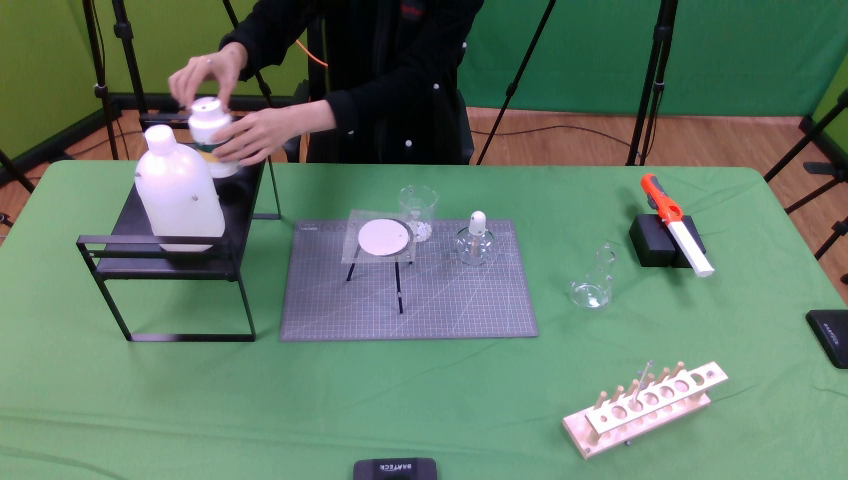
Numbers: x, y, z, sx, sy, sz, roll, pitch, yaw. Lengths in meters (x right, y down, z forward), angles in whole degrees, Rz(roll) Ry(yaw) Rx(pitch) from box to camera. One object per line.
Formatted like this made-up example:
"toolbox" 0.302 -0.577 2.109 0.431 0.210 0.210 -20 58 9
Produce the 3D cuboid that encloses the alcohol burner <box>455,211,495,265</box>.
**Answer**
"alcohol burner" 0.097 -0.010 1.147 0.078 0.120 0.077 1 47 -1

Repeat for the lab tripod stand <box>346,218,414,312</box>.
"lab tripod stand" -0.070 0.037 1.075 0.148 0.132 0.147 1 48 -1

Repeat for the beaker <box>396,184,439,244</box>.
"beaker" -0.014 -0.049 1.186 0.084 0.101 0.073 -8 48 -12

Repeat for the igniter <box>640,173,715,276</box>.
"igniter" 0.495 -0.039 1.204 0.057 0.025 0.274 -2 47 -12

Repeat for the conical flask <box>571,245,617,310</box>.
"conical flask" 0.313 0.064 1.089 0.075 0.122 0.075 2 46 -2

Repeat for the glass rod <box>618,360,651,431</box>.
"glass rod" 0.298 0.227 0.865 0.008 0.201 0.008 -1 48 2

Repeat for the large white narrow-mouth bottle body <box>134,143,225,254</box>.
"large white narrow-mouth bottle body" -0.358 -0.075 0.875 0.102 0.195 0.101 1 48 -1

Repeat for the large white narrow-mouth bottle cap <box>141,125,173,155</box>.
"large white narrow-mouth bottle cap" -0.356 -0.134 0.810 0.038 0.024 0.037 1 48 -1

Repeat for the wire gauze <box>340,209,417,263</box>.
"wire gauze" -0.074 -0.007 1.023 0.121 0.011 0.124 3 46 0

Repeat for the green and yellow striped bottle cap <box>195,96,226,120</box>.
"green and yellow striped bottle cap" -0.334 -0.206 0.945 0.045 0.020 0.045 0 41 0

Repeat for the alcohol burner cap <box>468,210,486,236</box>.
"alcohol burner cap" 0.099 -0.034 1.119 0.034 0.048 0.033 0 53 0

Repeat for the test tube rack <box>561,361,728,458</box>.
"test tube rack" 0.341 0.248 0.940 0.243 0.085 0.066 -15 48 -18

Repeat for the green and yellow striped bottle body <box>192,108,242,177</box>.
"green and yellow striped bottle body" -0.335 -0.168 0.979 0.063 0.120 0.063 2 41 -1
